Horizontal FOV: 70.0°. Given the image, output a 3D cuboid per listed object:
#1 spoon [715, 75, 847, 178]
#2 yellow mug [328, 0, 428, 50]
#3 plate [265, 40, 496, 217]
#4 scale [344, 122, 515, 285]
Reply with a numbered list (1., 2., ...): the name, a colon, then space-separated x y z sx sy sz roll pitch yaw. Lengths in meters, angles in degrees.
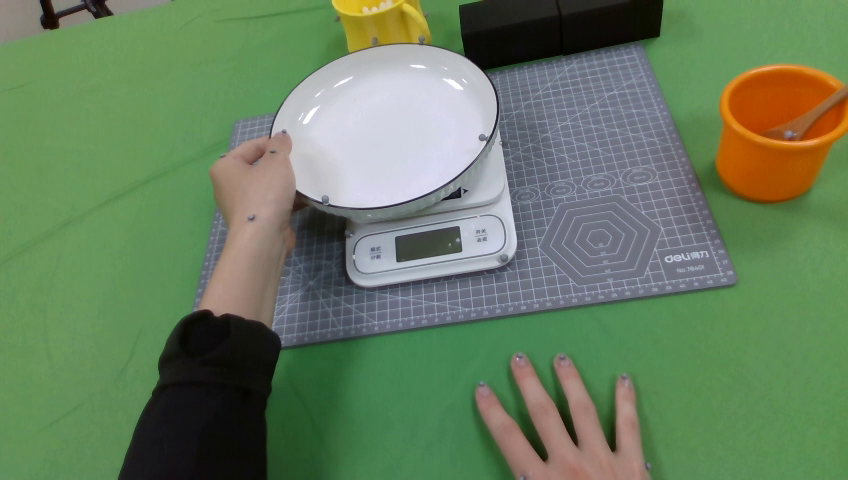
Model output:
1. spoon: 0.304 -0.107 0.445 0.022 0.194 0.041 15 51 -30
2. yellow mug: -0.043 -0.258 0.694 0.129 0.064 0.100 35 69 31
3. plate: -0.038 -0.101 0.549 0.209 0.038 0.207 -5 55 7
4. scale: -0.001 -0.057 0.555 0.148 0.032 0.199 -9 54 8
